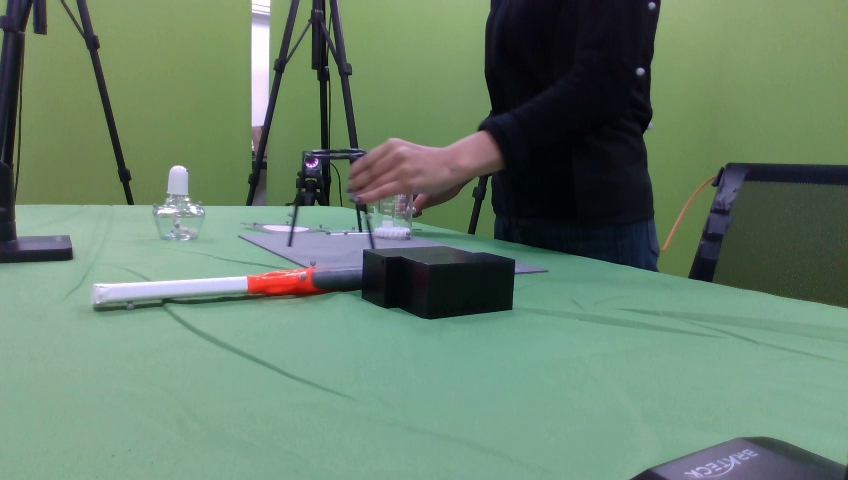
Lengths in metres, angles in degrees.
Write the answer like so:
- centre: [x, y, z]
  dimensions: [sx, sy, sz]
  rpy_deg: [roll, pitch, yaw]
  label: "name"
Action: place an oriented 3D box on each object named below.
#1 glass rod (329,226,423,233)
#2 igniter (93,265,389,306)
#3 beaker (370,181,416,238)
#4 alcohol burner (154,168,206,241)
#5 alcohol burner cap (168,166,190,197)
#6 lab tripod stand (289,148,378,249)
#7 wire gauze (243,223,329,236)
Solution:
- centre: [-0.087, -0.020, 1.148]
  dimensions: [0.201, 0.008, 0.008]
  rpy_deg: [-3, 9, -32]
  label: "glass rod"
- centre: [-0.164, 0.042, 0.589]
  dimensions: [0.278, 0.025, 0.057]
  rpy_deg: [-2, -7, -31]
  label: "igniter"
- centre: [-0.057, -0.056, 1.090]
  dimensions: [0.084, 0.100, 0.074]
  rpy_deg: [2, 7, 0]
  label: "beaker"
- centre: [-0.393, -0.059, 0.974]
  dimensions: [0.078, 0.119, 0.078]
  rpy_deg: [1, 8, 0]
  label: "alcohol burner"
- centre: [-0.392, -0.095, 0.970]
  dimensions: [0.034, 0.048, 0.034]
  rpy_deg: [7, 7, -1]
  label: "alcohol burner cap"
- centre: [-0.119, -0.060, 0.849]
  dimensions: [0.148, 0.131, 0.148]
  rpy_deg: [-1, 15, 1]
  label: "lab tripod stand"
- centre: [-0.266, -0.024, 1.156]
  dimensions: [0.124, 0.011, 0.122]
  rpy_deg: [12, 12, 40]
  label: "wire gauze"
